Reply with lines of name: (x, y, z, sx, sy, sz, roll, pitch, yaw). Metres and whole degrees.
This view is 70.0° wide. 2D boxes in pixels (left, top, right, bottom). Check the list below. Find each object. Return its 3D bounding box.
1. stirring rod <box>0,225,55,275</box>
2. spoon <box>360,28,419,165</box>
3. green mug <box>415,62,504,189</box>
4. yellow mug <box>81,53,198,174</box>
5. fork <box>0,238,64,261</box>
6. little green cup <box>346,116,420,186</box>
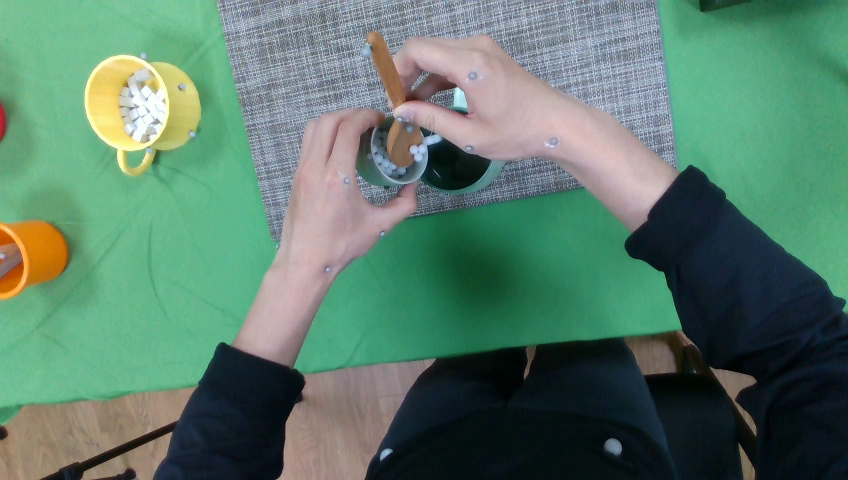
stirring rod: (-0.505, 0.044, 0.700, 0.014, 0.006, 0.175, 40, 62, -1)
spoon: (-0.022, -0.100, 0.447, 0.021, 0.194, 0.041, 33, 81, 8)
green mug: (0.033, -0.110, 0.596, 0.092, 0.105, 0.125, 7, 101, 9)
yellow mug: (-0.316, -0.136, 0.673, 0.100, 0.064, 0.131, 16, 104, 5)
fork: (-0.534, 0.012, 0.692, 0.208, 0.018, 0.028, 0, 100, -35)
little green cup: (-0.038, -0.078, 0.540, 0.062, 0.038, 0.061, -5, 99, -34)
